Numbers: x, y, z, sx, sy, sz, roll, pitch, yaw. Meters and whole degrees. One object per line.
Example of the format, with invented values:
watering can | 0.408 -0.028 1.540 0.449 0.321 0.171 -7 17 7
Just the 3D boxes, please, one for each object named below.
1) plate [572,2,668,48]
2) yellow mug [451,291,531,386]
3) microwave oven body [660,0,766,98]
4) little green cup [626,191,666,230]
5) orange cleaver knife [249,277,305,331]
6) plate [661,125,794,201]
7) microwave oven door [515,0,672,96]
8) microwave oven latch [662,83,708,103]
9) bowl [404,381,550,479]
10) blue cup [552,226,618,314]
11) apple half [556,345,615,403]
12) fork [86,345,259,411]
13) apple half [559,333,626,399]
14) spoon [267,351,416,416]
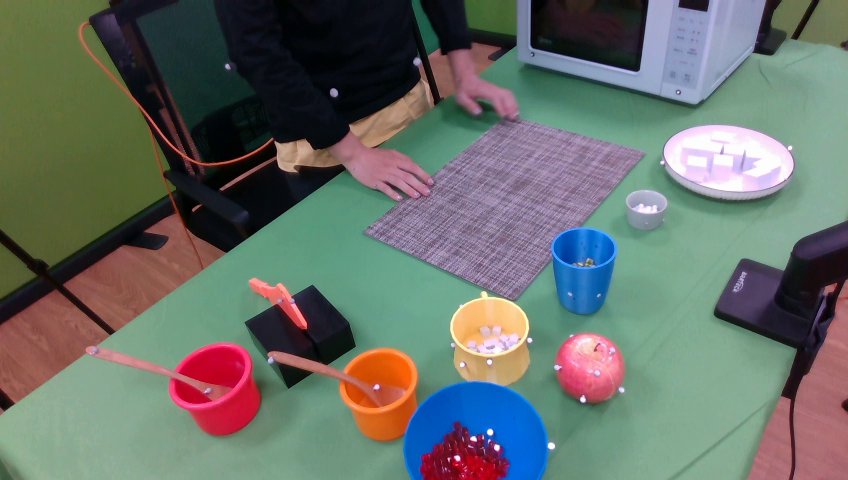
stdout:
plate | 0.441 -0.483 1.367 0.209 0.038 0.208 -4 41 4
yellow mug | 0.085 0.120 0.786 0.100 0.064 0.130 -7 39 1
microwave oven body | 0.472 -0.513 1.317 0.438 0.261 0.327 26 51 34
little green cup | 0.352 -0.046 0.963 0.061 0.039 0.061 -4 40 4
orange cleaver knife | -0.210 0.088 0.855 0.012 0.077 0.210 -28 15 -25
plate | 0.513 -0.128 1.035 0.207 0.039 0.206 -4 40 4
microwave oven door | 0.343 -0.454 1.259 0.353 0.245 0.039 26 51 33
microwave oven latch | 0.518 -0.296 1.204 0.078 0.029 0.030 27 52 35
bowl | 0.058 0.235 0.645 0.151 0.077 0.150 -4 39 4
blue cup | 0.218 0.047 0.826 0.092 0.101 0.092 -6 40 5
apple half | 0.181 0.167 0.709 0.080 0.081 0.033 29 50 35
fork | -0.298 0.166 0.728 0.209 0.018 0.028 28 47 -23
apple half | 0.209 0.147 0.730 0.080 0.075 0.053 26 48 38
spoon | -0.090 0.162 0.699 0.021 0.195 0.041 -44 31 27
